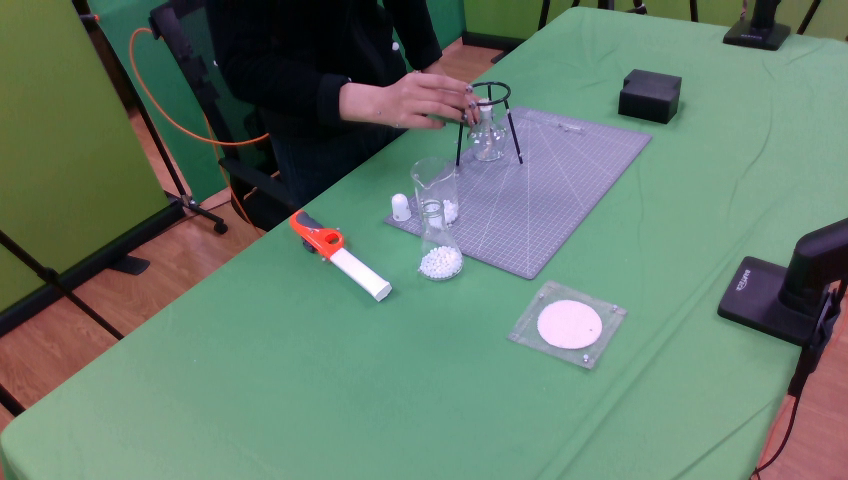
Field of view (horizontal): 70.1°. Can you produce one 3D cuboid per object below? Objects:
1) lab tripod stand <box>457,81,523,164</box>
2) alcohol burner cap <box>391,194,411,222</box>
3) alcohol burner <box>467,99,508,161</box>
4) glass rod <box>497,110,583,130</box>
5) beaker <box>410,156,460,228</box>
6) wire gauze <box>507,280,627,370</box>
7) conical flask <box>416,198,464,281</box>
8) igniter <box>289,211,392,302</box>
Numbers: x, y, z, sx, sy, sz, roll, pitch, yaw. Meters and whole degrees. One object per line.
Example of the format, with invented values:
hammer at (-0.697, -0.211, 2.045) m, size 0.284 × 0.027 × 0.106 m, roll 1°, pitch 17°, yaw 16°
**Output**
lab tripod stand at (0.120, -0.219, 1.129) m, size 0.148 × 0.132 × 0.147 m, roll -7°, pitch 39°, yaw 6°
alcohol burner cap at (-0.041, -0.057, 1.040) m, size 0.034 × 0.048 × 0.033 m, roll -6°, pitch 40°, yaw 5°
alcohol burner at (0.119, -0.210, 1.134) m, size 0.078 × 0.119 × 0.077 m, roll -4°, pitch 39°, yaw 4°
glass rod at (0.233, -0.245, 1.235) m, size 0.198 × 0.008 × 0.008 m, roll 21°, pitch 49°, yaw 34°
beaker at (0.020, -0.076, 1.006) m, size 0.074 × 0.101 × 0.084 m, roll 3°, pitch 42°, yaw 15°
wire gauze at (0.196, 0.114, 0.823) m, size 0.120 × 0.011 × 0.125 m, roll 20°, pitch 50°, yaw 31°
conical flask at (0.019, -0.004, 0.907) m, size 0.075 × 0.122 × 0.075 m, roll -5°, pitch 40°, yaw 5°
igniter at (-0.146, 0.019, 0.985) m, size 0.057 × 0.025 × 0.274 m, roll -40°, pitch 48°, yaw -18°
